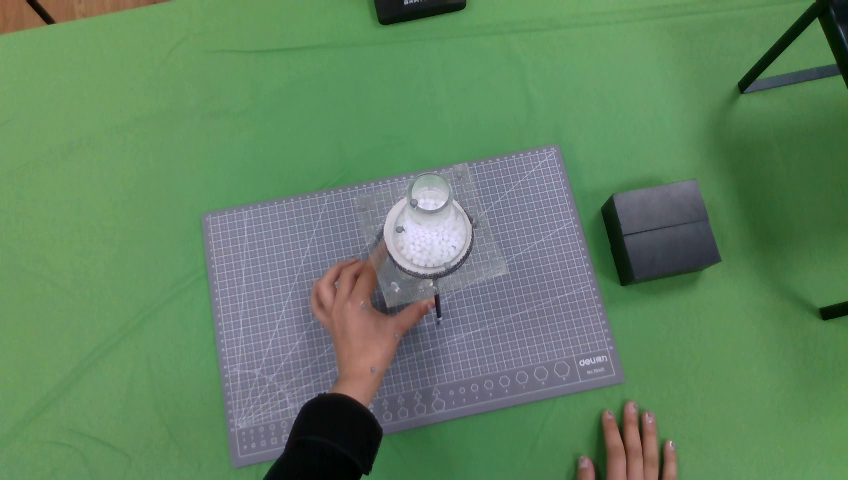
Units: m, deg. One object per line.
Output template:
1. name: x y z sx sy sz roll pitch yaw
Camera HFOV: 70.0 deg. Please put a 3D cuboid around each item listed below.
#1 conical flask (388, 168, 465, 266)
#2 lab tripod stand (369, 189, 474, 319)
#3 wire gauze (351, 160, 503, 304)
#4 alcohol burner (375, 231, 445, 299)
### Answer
1. conical flask: 0.003 -0.025 0.539 0.075 0.122 0.075 0 75 0
2. lab tripod stand: 0.005 0.004 0.660 0.148 0.132 0.147 0 74 0
3. wire gauze: 0.002 -0.009 0.597 0.125 0.011 0.121 -16 79 -7
4. alcohol burner: -0.015 0.025 0.664 0.078 0.119 0.077 1 78 -3
